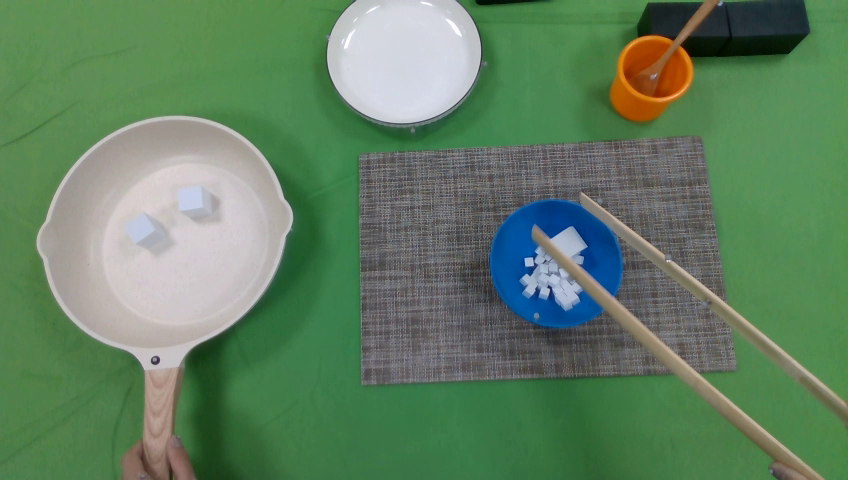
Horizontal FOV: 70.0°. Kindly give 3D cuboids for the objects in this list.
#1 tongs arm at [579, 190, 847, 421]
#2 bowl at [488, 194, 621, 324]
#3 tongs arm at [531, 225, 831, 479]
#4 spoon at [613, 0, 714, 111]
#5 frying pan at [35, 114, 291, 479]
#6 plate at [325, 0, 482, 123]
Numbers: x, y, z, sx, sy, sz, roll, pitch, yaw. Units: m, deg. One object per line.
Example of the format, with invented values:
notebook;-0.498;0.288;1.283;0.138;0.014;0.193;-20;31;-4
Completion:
tongs arm;0.259;0.077;0.534;0.051;0.027;0.380;-37;55;-11
bowl;0.149;0.029;0.719;0.151;0.077;0.150;0;77;2
tongs arm;0.228;0.100;0.528;0.028;0.028;0.383;-35;54;-14
spoon;0.305;-0.241;0.746;0.041;0.194;0.021;46;38;14
frying pan;-0.302;0.087;0.710;0.307;0.103;0.484;-5;68;2
plate;-0.026;-0.250;0.815;0.207;0.039;0.206;0;77;2
